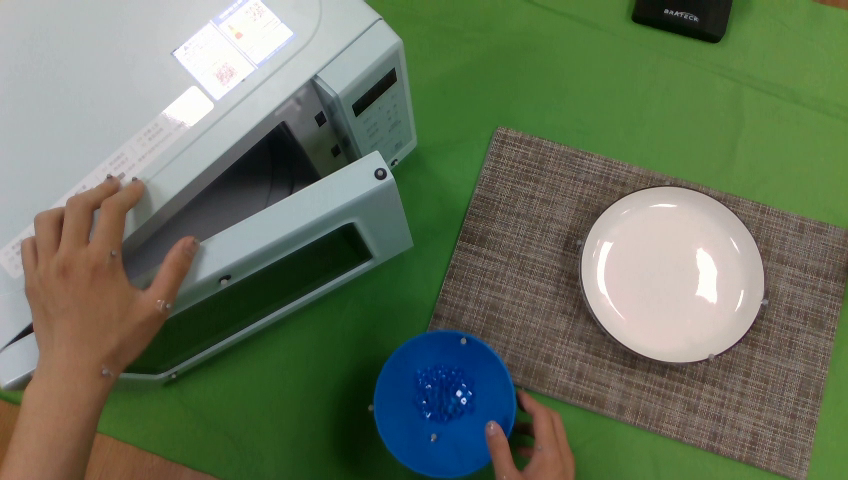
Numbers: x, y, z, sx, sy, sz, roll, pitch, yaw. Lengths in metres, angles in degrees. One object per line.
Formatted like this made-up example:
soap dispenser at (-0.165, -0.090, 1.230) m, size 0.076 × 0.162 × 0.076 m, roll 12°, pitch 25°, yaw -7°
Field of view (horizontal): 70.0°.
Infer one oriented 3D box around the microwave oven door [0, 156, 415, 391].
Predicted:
microwave oven door at (-0.181, 0.048, 0.603) m, size 0.356 × 0.245 × 0.039 m, roll -28°, pitch 75°, yaw -4°

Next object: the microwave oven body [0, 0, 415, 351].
microwave oven body at (-0.279, -0.115, 0.650) m, size 0.441 × 0.261 × 0.324 m, roll -44°, pitch 79°, yaw -7°

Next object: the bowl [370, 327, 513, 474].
bowl at (0.021, 0.175, 0.669) m, size 0.151 × 0.077 × 0.150 m, roll -1°, pitch 75°, yaw 4°

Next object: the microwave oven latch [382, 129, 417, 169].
microwave oven latch at (-0.044, -0.111, 0.739) m, size 0.079 × 0.029 × 0.030 m, roll -42°, pitch 79°, yaw -7°

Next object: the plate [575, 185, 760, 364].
plate at (0.278, 0.040, 0.706) m, size 0.207 × 0.039 × 0.206 m, roll 0°, pitch 77°, yaw 2°
